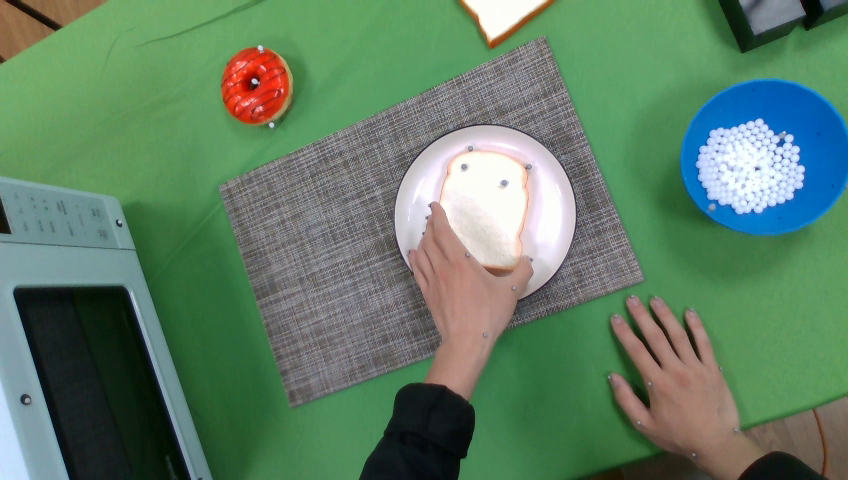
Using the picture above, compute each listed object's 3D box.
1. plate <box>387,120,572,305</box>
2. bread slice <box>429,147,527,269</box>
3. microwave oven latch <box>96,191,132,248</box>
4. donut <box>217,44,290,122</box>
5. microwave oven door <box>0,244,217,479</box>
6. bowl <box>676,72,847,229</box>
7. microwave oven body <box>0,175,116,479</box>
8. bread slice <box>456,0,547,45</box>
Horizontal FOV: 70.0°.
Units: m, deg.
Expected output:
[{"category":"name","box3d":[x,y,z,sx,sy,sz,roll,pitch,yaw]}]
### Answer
[{"category":"plate","box3d":[0.063,-0.030,0.689,0.207,0.039,0.207,-1,88,14]},{"category":"bread slice","box3d":[0.062,-0.038,0.689,0.106,0.018,0.134,4,89,13]},{"category":"microwave oven latch","box3d":[-0.412,-0.023,0.790,0.030,0.029,0.079,-23,83,11]},{"category":"donut","box3d":[-0.215,-0.197,0.764,0.099,0.048,0.099,-1,88,16]},{"category":"microwave oven door","box3d":[-0.356,0.173,0.665,0.039,0.245,0.354,-24,82,12]},{"category":"bowl","box3d":[0.327,-0.082,0.608,0.151,0.077,0.151,-1,87,14]},{"category":"microwave oven body","box3d":[-0.502,0.193,0.705,0.326,0.261,0.440,-24,83,11]},{"category":"bread slice","box3d":[0.079,-0.310,0.709,0.105,0.019,0.131,-36,82,9]}]
